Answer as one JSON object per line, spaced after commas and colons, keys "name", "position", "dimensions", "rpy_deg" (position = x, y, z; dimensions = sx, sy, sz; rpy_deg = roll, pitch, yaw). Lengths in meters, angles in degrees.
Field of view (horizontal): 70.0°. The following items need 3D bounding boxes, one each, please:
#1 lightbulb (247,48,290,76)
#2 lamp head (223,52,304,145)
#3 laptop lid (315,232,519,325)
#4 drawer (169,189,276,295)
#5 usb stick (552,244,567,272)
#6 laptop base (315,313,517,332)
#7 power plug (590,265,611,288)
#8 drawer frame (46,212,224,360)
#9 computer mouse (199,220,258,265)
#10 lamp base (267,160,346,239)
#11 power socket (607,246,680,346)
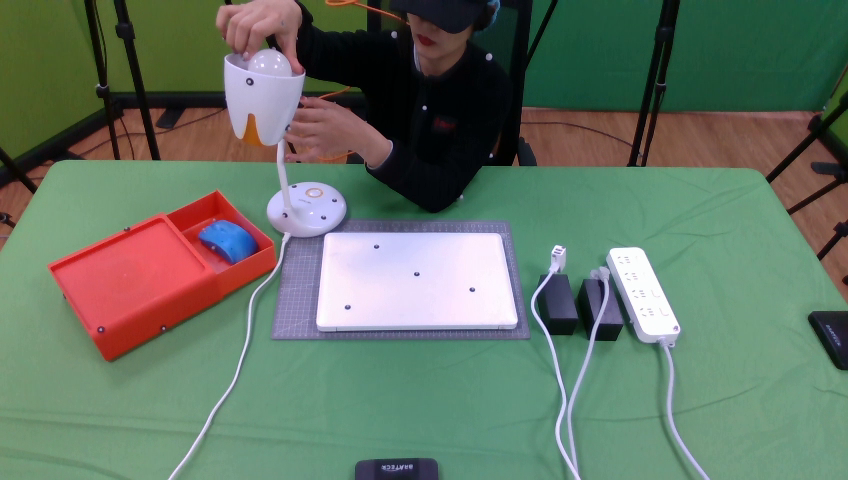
{"name": "lightbulb", "position": [-0.229, -0.222, 0.872], "dimensions": [0.059, 0.108, 0.059], "rpy_deg": [18, 29, -10]}
{"name": "lamp head", "position": [-0.239, -0.204, 0.890], "dimensions": [0.112, 0.123, 0.112], "rpy_deg": [11, 32, -7]}
{"name": "laptop lid", "position": [-0.015, 0.065, 1.118], "dimensions": [0.357, 0.013, 0.240], "rpy_deg": [1, 43, -3]}
{"name": "drawer", "position": [-0.413, 0.022, 1.108], "dimensions": [0.212, 0.073, 0.193], "rpy_deg": [-33, 57, -30]}
{"name": "usb stick", "position": [0.251, 0.039, 1.123], "dimensions": [0.021, 0.059, 0.027], "rpy_deg": [14, 47, 24]}
{"name": "laptop base", "position": [-0.016, 0.075, 1.125], "dimensions": [0.355, 0.023, 0.234], "rpy_deg": [0, 42, -4]}
{"name": "power plug", "position": [0.318, 0.073, 1.108], "dimensions": [0.035, 0.053, 0.072], "rpy_deg": [26, 33, 13]}
{"name": "drawer frame", "position": [-0.495, 0.072, 1.050], "dimensions": [0.213, 0.083, 0.200], "rpy_deg": [-32, 56, -30]}
{"name": "computer mouse", "position": [-0.374, -0.001, 1.153], "dimensions": [0.116, 0.041, 0.063], "rpy_deg": [30, 52, 28]}
{"name": "lamp base", "position": [-0.241, -0.110, 1.175], "dimensions": [0.160, 0.181, 0.178], "rpy_deg": [11, 48, 8]}
{"name": "power socket", "position": [0.403, 0.096, 1.123], "dimensions": [0.072, 0.033, 0.225], "rpy_deg": [-3, 46, -5]}
